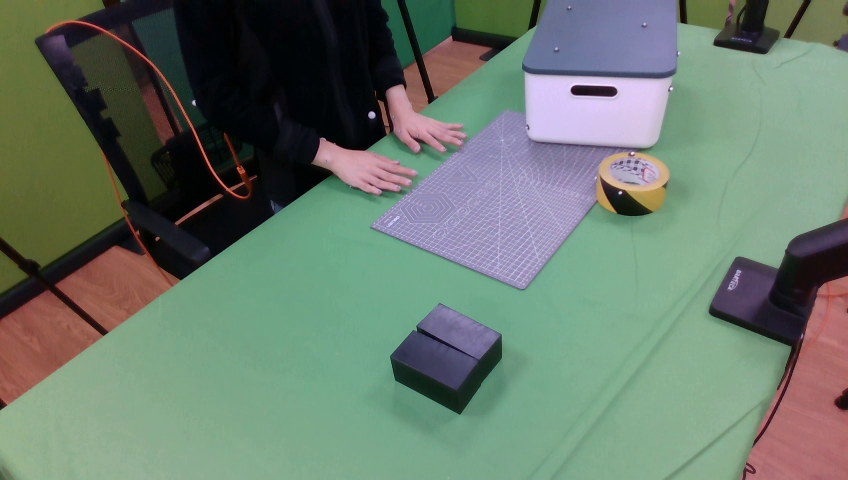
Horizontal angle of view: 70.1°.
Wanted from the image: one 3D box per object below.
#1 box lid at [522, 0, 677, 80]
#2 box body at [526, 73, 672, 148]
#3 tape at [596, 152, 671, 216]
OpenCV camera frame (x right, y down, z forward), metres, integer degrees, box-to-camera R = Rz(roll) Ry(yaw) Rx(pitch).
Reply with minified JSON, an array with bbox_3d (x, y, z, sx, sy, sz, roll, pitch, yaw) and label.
[{"bbox_3d":[0.346,-0.397,1.163,0.262,0.015,0.371,6,42,17],"label":"box lid"},{"bbox_3d":[0.356,-0.342,1.212,0.253,0.161,0.363,7,42,17],"label":"box body"},{"bbox_3d":[0.349,-0.095,1.009,0.117,0.053,0.116,-3,42,3],"label":"tape"}]
